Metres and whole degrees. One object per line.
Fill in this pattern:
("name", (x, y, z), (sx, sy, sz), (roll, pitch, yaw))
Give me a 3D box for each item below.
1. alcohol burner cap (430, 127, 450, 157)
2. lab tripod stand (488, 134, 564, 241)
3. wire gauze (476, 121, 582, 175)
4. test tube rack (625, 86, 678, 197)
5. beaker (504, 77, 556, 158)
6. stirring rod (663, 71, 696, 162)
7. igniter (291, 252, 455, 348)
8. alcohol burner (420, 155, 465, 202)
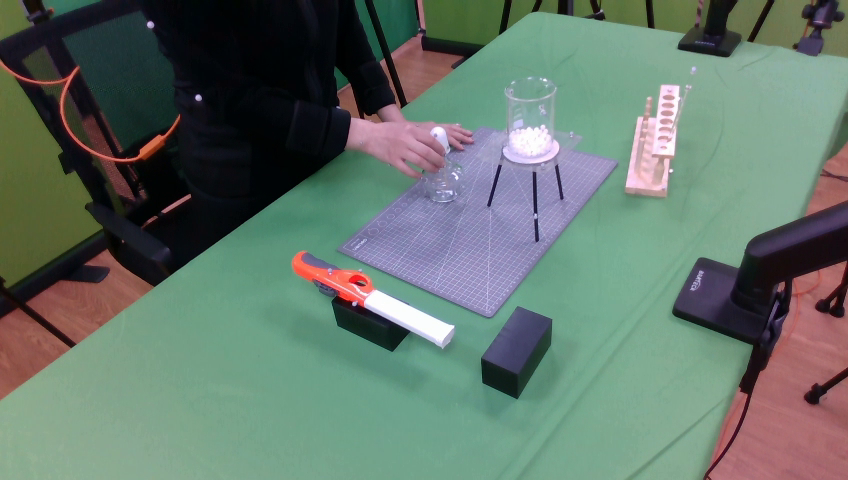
("alcohol burner cap", (0.025, -0.165, 1.005), (0.034, 0.048, 0.033), (-6, 43, 7))
("lab tripod stand", (0.168, -0.092, 0.972), (0.148, 0.132, 0.147), (-5, 41, 5))
("wire gauze", (0.162, -0.142, 0.929), (0.120, 0.011, 0.125), (19, 49, 32))
("test tube rack", (0.412, -0.184, 1.088), (0.066, 0.085, 0.242), (9, 43, 18))
("beaker", (0.160, -0.181, 0.900), (0.084, 0.101, 0.073), (-33, 46, -27))
("stirring rod", (0.410, -0.195, 0.981), (0.014, 0.177, 0.006), (11, 50, 13))
("igniter", (-0.080, 0.076, 0.822), (0.274, 0.025, 0.057), (23, 46, 27))
("alcohol burner", (0.030, -0.125, 1.044), (0.078, 0.119, 0.077), (-5, 42, 5))
